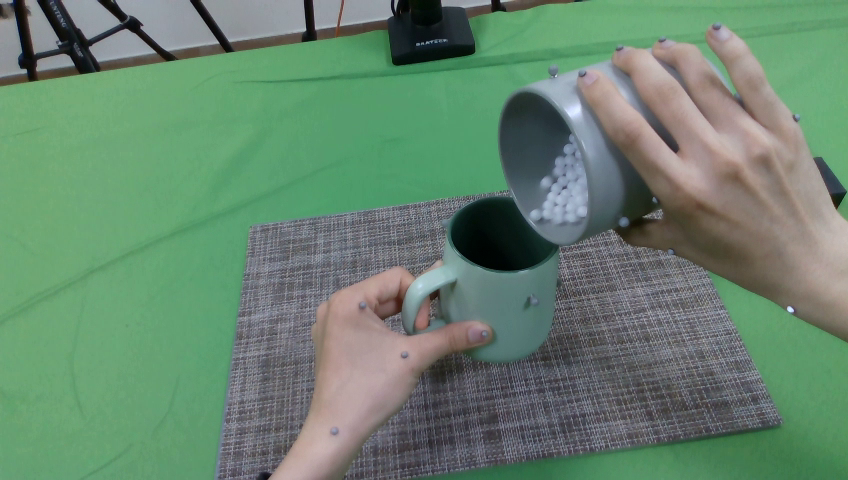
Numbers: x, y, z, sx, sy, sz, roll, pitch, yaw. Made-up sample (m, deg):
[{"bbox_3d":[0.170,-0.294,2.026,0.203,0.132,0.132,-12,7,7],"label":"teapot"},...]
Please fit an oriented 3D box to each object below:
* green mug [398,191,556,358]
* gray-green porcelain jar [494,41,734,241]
[{"bbox_3d":[0.038,0.034,0.452,0.125,0.106,0.091,-22,50,-20],"label":"green mug"},{"bbox_3d":[0.127,-0.069,0.403,0.127,0.107,0.104,-21,50,-17],"label":"gray-green porcelain jar"}]
